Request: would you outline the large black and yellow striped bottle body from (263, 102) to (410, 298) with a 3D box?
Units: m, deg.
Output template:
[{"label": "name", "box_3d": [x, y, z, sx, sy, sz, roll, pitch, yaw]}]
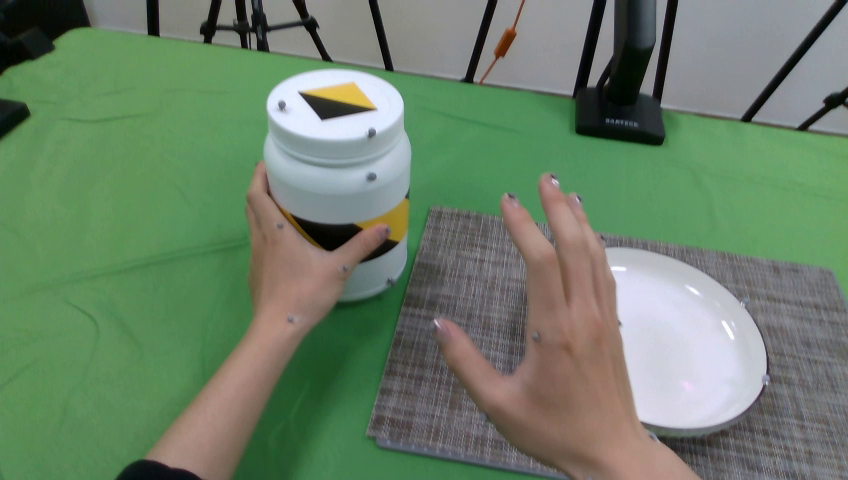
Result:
[{"label": "large black and yellow striped bottle body", "box_3d": [-0.080, -0.050, 0.574, 0.131, 0.185, 0.129, 3, 43, -2]}]

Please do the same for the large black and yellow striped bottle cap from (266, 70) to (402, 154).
[{"label": "large black and yellow striped bottle cap", "box_3d": [-0.076, -0.112, 0.516, 0.115, 0.019, 0.114, 4, 42, -3]}]

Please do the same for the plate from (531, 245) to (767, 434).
[{"label": "plate", "box_3d": [0.199, 0.088, 0.556, 0.208, 0.039, 0.205, 3, 43, -2]}]
